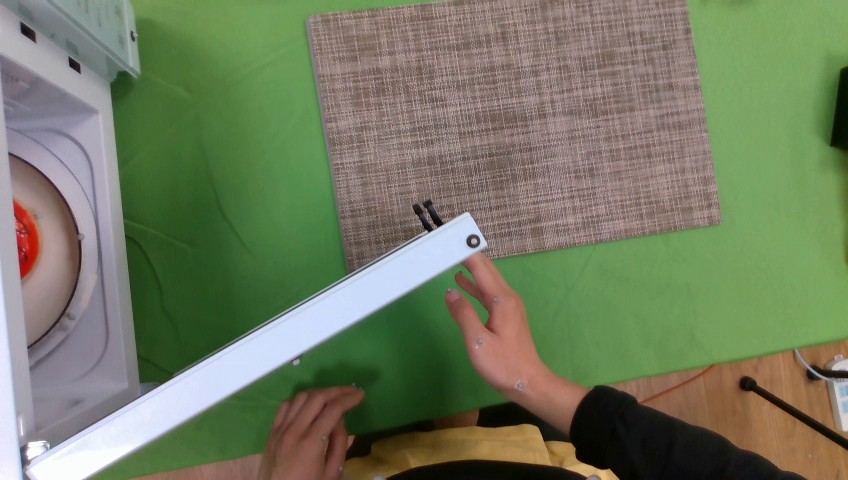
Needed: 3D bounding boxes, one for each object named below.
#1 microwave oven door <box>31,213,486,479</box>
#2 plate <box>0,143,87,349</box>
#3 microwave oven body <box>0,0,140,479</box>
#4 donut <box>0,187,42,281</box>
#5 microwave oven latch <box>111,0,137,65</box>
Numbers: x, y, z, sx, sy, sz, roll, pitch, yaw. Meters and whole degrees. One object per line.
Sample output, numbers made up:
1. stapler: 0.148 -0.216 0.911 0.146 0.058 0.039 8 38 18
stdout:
1. microwave oven door: -0.122 0.077 0.544 0.356 0.243 0.039 -30 91 -6
2. plate: -0.424 0.009 0.568 0.209 0.038 0.209 0 90 -7
3. microwave oven body: -0.435 -0.035 0.516 0.326 0.260 0.441 -6 91 -6
4. donut: -0.408 -0.004 0.561 0.099 0.048 0.099 0 91 -7
5. microwave oven latch: -0.317 -0.225 0.627 0.030 0.029 0.079 -4 90 -6
